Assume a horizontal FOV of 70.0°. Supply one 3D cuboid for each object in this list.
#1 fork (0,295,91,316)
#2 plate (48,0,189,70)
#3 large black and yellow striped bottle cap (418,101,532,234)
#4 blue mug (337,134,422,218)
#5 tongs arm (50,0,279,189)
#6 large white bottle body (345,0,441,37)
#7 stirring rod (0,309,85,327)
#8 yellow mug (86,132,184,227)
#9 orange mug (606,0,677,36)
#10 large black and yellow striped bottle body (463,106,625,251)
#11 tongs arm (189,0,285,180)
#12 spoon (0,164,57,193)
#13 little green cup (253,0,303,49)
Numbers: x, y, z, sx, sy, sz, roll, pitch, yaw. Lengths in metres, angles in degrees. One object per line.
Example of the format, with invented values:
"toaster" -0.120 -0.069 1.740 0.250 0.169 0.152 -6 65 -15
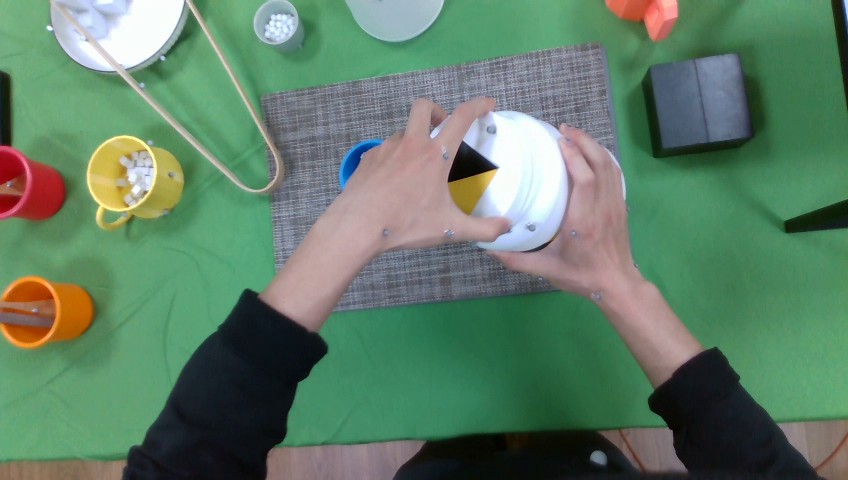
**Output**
"fork" -0.544 0.078 0.774 0.209 0.018 0.028 10 84 -34
"plate" -0.420 -0.336 0.846 0.207 0.039 0.207 -1 86 8
"large black and yellow striped bottle cap" 0.041 -0.063 0.528 0.114 0.019 0.115 -2 88 42
"blue mug" -0.035 -0.069 0.730 0.116 0.106 0.082 19 88 10
"tongs arm" -0.346 -0.199 0.805 0.051 0.026 0.384 -44 88 -1
"large white bottle body" -0.051 -0.339 0.717 0.130 0.185 0.130 -1 85 9
"stirring rod" -0.534 0.095 0.774 0.006 0.177 0.014 -23 61 49
"yellow mug" -0.392 -0.073 0.807 0.099 0.064 0.131 32 92 10
"orange mug" 0.264 -0.310 0.712 0.083 0.101 0.125 -16 79 7
"large black and yellow striped bottle body" 0.100 -0.057 0.594 0.130 0.185 0.130 -3 85 42
"tongs arm" -0.280 -0.253 0.803 0.028 0.028 0.387 -30 88 -4
"spoon" -0.590 -0.062 0.796 0.194 0.022 0.041 -24 77 -39
"little green cup" -0.192 -0.287 0.808 0.061 0.039 0.061 -1 86 8
